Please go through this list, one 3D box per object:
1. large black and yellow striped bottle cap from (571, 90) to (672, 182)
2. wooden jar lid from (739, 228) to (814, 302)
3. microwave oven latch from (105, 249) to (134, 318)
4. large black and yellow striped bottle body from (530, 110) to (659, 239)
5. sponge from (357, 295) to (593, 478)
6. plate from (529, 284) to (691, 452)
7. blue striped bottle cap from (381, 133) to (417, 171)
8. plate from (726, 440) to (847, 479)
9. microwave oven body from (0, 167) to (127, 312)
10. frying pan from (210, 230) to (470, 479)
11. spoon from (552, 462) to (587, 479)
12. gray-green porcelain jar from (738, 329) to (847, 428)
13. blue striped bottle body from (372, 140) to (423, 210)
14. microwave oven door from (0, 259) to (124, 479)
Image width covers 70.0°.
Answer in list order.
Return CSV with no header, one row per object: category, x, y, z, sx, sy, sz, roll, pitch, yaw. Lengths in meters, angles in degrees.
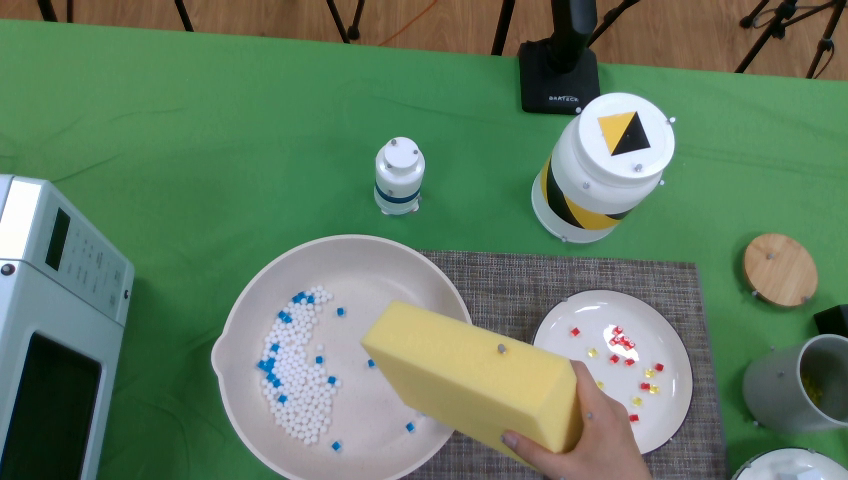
large black and yellow striped bottle cap,0.229,-0.122,0.703,0.115,0.019,0.114,2,68,-5
wooden jar lid,0.494,0.036,0.855,0.108,0.021,0.107,2,71,-5
microwave oven latch,-0.366,0.052,0.718,0.030,0.029,0.078,4,70,-5
large black and yellow striped bottle body,0.221,-0.092,0.783,0.131,0.185,0.130,2,69,-5
sponge,0.046,0.135,0.582,0.205,0.119,0.060,14,55,39
plate,0.229,0.159,0.764,0.209,0.038,0.207,2,70,-5
blue striped bottle cap,-0.030,-0.108,0.737,0.044,0.021,0.044,2,66,-4
plate,0.448,0.348,0.724,0.208,0.039,0.206,2,69,-6
microwave oven body,-0.507,0.174,0.552,0.326,0.261,0.438,3,70,-6
frying pan,-0.086,0.224,0.669,0.307,0.103,0.483,1,61,-4
spoon,0.223,0.328,0.711,0.193,0.022,0.041,42,54,8
gray-green porcelain jar,0.462,0.174,0.743,0.106,0.127,0.105,2,69,-6
blue striped bottle body,-0.035,-0.090,0.785,0.063,0.121,0.062,2,69,-6
microwave oven door,-0.362,0.219,0.547,0.039,0.245,0.353,3,69,-5
